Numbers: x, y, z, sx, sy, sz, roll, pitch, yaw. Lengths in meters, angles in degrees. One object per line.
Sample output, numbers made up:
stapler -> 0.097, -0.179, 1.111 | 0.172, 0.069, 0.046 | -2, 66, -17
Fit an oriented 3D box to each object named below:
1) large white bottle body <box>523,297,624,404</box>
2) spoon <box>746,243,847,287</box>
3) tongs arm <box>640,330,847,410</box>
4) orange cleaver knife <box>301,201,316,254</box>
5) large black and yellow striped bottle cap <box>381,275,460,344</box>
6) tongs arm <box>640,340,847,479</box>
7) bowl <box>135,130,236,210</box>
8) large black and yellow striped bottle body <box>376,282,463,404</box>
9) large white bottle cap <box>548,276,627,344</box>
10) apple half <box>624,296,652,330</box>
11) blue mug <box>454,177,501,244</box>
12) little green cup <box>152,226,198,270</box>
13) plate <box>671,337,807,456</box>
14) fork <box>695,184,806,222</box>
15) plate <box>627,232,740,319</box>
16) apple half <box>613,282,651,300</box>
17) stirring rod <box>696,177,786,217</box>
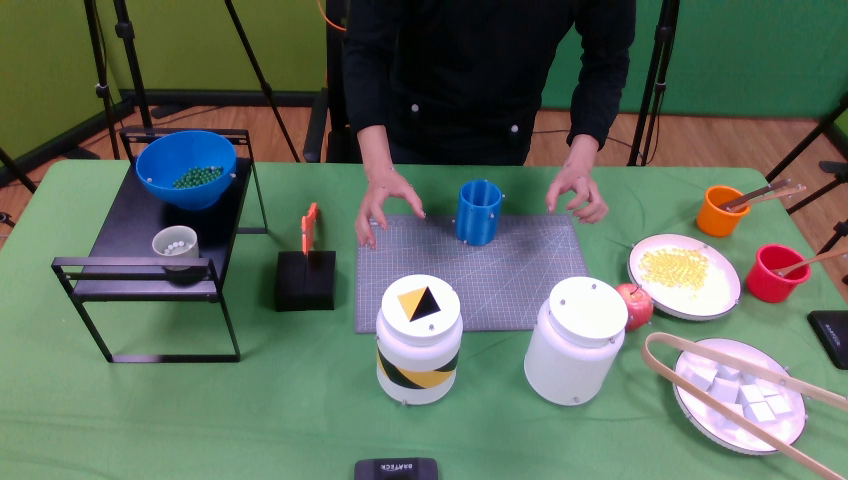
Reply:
large white bottle body -> 0.235, 0.159, 0.952 | 0.131, 0.185, 0.130 | 2, 47, -2
spoon -> 0.702, 0.043, 1.126 | 0.194, 0.022, 0.041 | -29, 38, 30
tongs arm -> 0.543, 0.225, 0.969 | 0.384, 0.026, 0.050 | 22, 52, 13
orange cleaver knife -> -0.221, -0.027, 1.160 | 0.012, 0.077, 0.210 | -1, 15, -4
large black and yellow striped bottle cap -> -0.005, 0.098, 0.875 | 0.115, 0.019, 0.114 | 2, 45, -2
tongs arm -> 0.500, 0.277, 0.919 | 0.386, 0.028, 0.028 | 34, 59, 22
bowl -> -0.375, -0.102, 0.978 | 0.151, 0.077, 0.150 | 2, 46, -2
large black and yellow striped bottle body -> -0.010, 0.155, 0.937 | 0.131, 0.185, 0.130 | 2, 47, -2
large white bottle cap -> 0.240, 0.100, 0.890 | 0.115, 0.018, 0.114 | 3, 47, -3
apple half -> 0.368, 0.135, 1.060 | 0.081, 0.081, 0.032 | -11, 43, -15
blue mug -> 0.106, -0.067, 1.208 | 0.082, 0.106, 0.116 | 6, 46, 1
little green cup -> -0.364, 0.013, 0.894 | 0.061, 0.039, 0.061 | 3, 46, -3
plate -> 0.504, 0.254, 0.984 | 0.208, 0.039, 0.206 | 2, 46, -2
fork -> 0.658, -0.074, 1.230 | 0.207, 0.019, 0.028 | -24, 33, 36
plate -> 0.489, 0.070, 1.156 | 0.209, 0.038, 0.208 | 3, 46, -3
apple half -> 0.356, 0.109, 1.086 | 0.081, 0.075, 0.053 | -13, 44, -12
stirring rod -> 0.648, -0.087, 1.244 | 0.176, 0.006, 0.014 | -25, 50, 29
